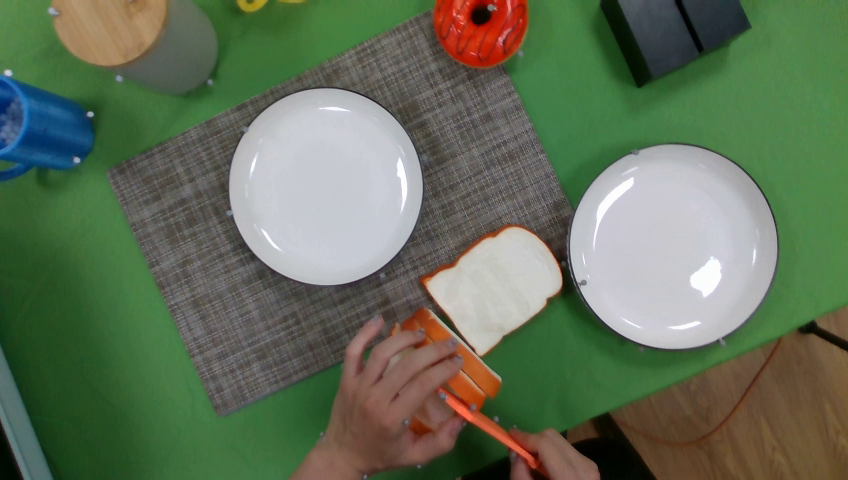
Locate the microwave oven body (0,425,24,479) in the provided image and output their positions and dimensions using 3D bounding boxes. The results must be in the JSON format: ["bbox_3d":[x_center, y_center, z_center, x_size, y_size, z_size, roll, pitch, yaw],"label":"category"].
[{"bbox_3d":[-0.609,0.228,0.574,0.326,0.260,0.441,-22,90,4],"label":"microwave oven body"}]

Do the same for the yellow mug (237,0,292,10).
[{"bbox_3d":[-0.156,-0.299,0.631,0.100,0.064,0.131,33,94,3],"label":"yellow mug"}]

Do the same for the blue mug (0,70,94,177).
[{"bbox_3d":[-0.427,-0.112,0.634,0.082,0.106,0.116,39,94,3],"label":"blue mug"}]

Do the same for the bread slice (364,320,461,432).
[{"bbox_3d":[-0.013,0.135,0.602,0.105,0.131,0.019,44,104,2],"label":"bread slice"}]

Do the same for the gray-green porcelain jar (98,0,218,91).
[{"bbox_3d":[-0.277,-0.213,0.612,0.106,0.126,0.106,0,91,4],"label":"gray-green porcelain jar"}]

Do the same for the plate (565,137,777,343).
[{"bbox_3d":[0.249,0.000,0.625,0.209,0.038,0.209,0,92,4],"label":"plate"}]

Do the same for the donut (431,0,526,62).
[{"bbox_3d":[0.057,-0.233,0.625,0.099,0.048,0.099,0,92,3],"label":"donut"}]

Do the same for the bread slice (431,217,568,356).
[{"bbox_3d":[0.086,0.036,0.595,0.134,0.018,0.107,-32,84,-35],"label":"bread slice"}]

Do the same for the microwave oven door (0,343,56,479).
[{"bbox_3d":[-0.458,0.213,0.558,0.039,0.244,0.355,-22,89,4],"label":"microwave oven door"}]

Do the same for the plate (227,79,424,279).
[{"bbox_3d":[-0.102,-0.062,0.644,0.207,0.039,0.207,0,92,4],"label":"plate"}]

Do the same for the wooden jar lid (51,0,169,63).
[{"bbox_3d":[-0.282,-0.213,0.549,0.108,0.021,0.108,0,90,5],"label":"wooden jar lid"}]

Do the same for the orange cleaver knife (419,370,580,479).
[{"bbox_3d":[0.075,0.179,0.573,0.213,0.076,0.012,40,82,-32],"label":"orange cleaver knife"}]
